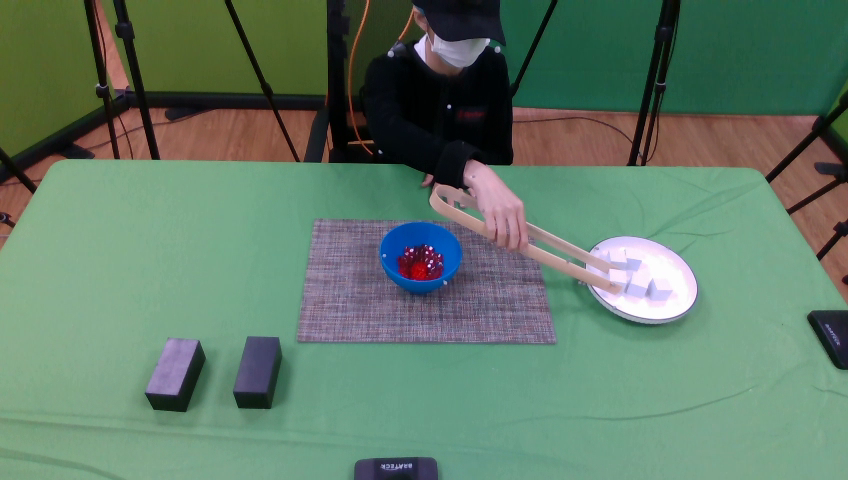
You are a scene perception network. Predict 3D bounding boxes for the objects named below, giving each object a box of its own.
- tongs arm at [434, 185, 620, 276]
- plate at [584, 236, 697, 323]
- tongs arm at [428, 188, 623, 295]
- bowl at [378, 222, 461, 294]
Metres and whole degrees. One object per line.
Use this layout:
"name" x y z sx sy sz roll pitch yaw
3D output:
"tongs arm" 0.189 -0.014 1.109 0.388 0.028 0.028 24 43 -10
"plate" 0.403 0.078 1.144 0.209 0.038 0.208 2 45 -2
"tongs arm" 0.183 0.005 1.084 0.386 0.026 0.050 23 39 -11
"bowl" -0.010 0.046 1.109 0.151 0.077 0.150 2 46 -2
